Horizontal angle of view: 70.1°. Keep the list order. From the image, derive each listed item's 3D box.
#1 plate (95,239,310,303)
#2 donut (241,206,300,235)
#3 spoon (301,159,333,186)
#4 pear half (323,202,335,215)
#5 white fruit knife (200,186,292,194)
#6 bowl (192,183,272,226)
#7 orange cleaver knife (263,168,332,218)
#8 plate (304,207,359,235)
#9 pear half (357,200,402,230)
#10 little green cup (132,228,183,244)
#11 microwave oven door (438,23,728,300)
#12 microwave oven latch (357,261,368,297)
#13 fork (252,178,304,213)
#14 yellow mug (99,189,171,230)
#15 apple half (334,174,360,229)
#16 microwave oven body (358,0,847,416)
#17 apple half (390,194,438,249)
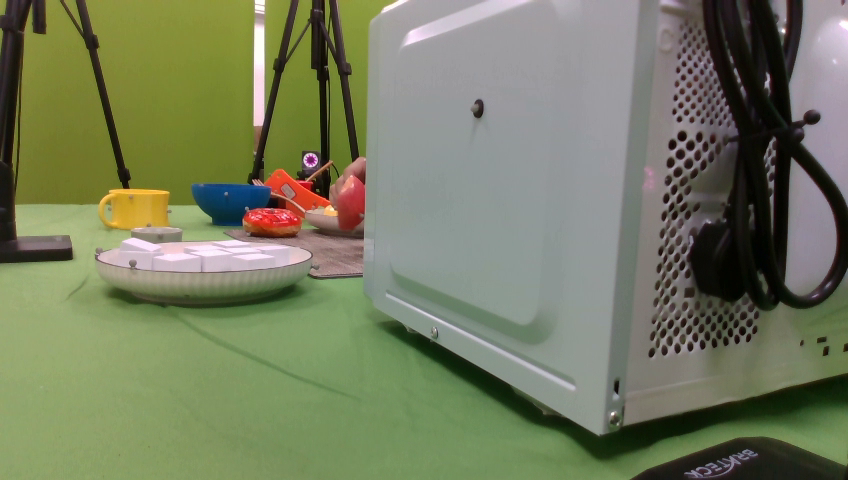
[{"bbox_3d":[-0.224,0.031,0.629,0.208,0.039,0.207,2,8,0],"label":"plate"},{"bbox_3d":[-0.263,-0.032,1.039,0.099,0.048,0.099,4,10,0],"label":"donut"},{"bbox_3d":[-0.316,-0.159,1.639,0.194,0.022,0.041,-49,32,-20],"label":"spoon"},{"bbox_3d":[-0.155,-0.059,1.197,0.088,0.031,0.070,13,32,-1],"label":"pear half"},{"bbox_3d":[-0.399,-0.111,1.368,0.208,0.016,0.027,-4,-19,-30],"label":"white fruit knife"},{"bbox_3d":[-0.381,-0.071,1.202,0.151,0.077,0.151,3,7,0],"label":"bowl"},{"bbox_3d":[-0.262,-0.088,1.353,0.211,0.077,0.012,28,13,-1],"label":"orange cleaver knife"},{"bbox_3d":[-0.123,-0.037,1.149,0.209,0.038,0.209,2,7,0],"label":"plate"},{"bbox_3d":[-0.075,-0.046,1.133,0.076,0.056,0.110,12,7,31],"label":"pear half"},{"bbox_3d":[-0.342,0.006,0.779,0.061,0.038,0.061,2,8,0],"label":"little green cup"},{"bbox_3d":[0.181,-0.072,0.621,0.358,0.243,0.039,-2,8,-29],"label":"microwave oven door"},{"bbox_3d":[-0.019,0.033,0.530,0.079,0.029,0.030,-1,7,-26],"label":"microwave oven latch"},{"bbox_3d":[-0.295,-0.084,1.292,0.206,0.018,0.028,29,11,25],"label":"fork"},{"bbox_3d":[-0.519,-0.055,1.080,0.099,0.064,0.131,7,9,26],"label":"yellow mug"},{"bbox_3d":[-0.098,-0.053,0.862,0.032,0.081,0.081,15,11,15],"label":"apple half"},{"bbox_3d":[0.211,-0.047,0.474,0.444,0.260,0.324,-1,7,-28],"label":"microwave oven body"},{"bbox_3d":[-0.009,-0.024,0.837,0.053,0.074,0.081,9,8,17],"label":"apple half"}]
